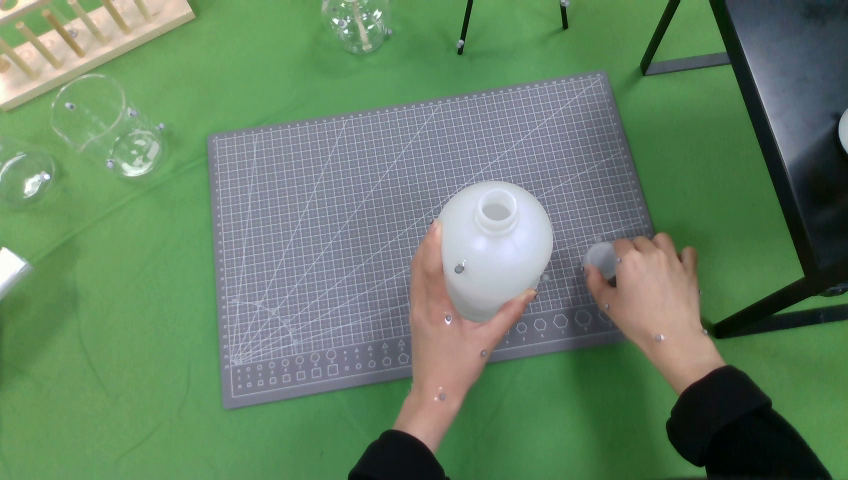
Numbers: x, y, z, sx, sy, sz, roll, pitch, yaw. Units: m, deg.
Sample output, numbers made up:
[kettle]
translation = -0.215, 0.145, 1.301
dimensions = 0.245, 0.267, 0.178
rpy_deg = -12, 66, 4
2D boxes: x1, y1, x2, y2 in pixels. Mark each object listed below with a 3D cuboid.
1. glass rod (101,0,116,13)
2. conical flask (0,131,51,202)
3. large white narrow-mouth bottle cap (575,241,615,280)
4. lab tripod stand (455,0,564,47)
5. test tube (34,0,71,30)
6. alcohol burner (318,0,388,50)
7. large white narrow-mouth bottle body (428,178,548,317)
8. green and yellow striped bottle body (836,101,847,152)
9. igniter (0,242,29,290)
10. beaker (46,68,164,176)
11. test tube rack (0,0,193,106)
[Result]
[glass rod]
translation = -0.384, -0.310, 0.627
dimensions = 0.008, 0.201, 0.008
rpy_deg = -3, 66, 8
[conical flask]
translation = -0.447, -0.093, 0.610
dimensions = 0.075, 0.122, 0.075
rpy_deg = -1, 71, 2
[large white narrow-mouth bottle cap]
translation = 0.171, 0.020, 0.603
dimensions = 0.038, 0.024, 0.037
rpy_deg = -1, 73, 2
[lab tripod stand]
translation = 0.089, -0.290, 0.649
dimensions = 0.148, 0.132, 0.147
rpy_deg = 0, 71, 1
[test tube]
translation = -0.424, -0.275, 0.635
dimensions = 0.017, 0.151, 0.017
rpy_deg = -2, 69, 6
[alcohol burner]
translation = -0.079, -0.264, 0.657
dimensions = 0.078, 0.120, 0.077
rpy_deg = 0, 70, 1
[large white narrow-mouth bottle body]
translation = 0.055, 0.003, 0.522
dimensions = 0.102, 0.196, 0.101
rpy_deg = -1, 73, 3
[green and yellow striped bottle body]
translation = 0.336, -0.099, 0.397
dimensions = 0.063, 0.120, 0.063
rpy_deg = -1, 72, 2
[igniter]
translation = -0.473, 0.117, 0.544
dimensions = 0.057, 0.025, 0.276
rpy_deg = 33, 73, 10
[beaker]
translation = -0.323, -0.114, 0.625
dimensions = 0.074, 0.101, 0.083
rpy_deg = 5, 72, 4
[test tube rack]
translation = -0.398, -0.251, 0.679
dimensions = 0.242, 0.086, 0.066
rpy_deg = -30, 73, -7
